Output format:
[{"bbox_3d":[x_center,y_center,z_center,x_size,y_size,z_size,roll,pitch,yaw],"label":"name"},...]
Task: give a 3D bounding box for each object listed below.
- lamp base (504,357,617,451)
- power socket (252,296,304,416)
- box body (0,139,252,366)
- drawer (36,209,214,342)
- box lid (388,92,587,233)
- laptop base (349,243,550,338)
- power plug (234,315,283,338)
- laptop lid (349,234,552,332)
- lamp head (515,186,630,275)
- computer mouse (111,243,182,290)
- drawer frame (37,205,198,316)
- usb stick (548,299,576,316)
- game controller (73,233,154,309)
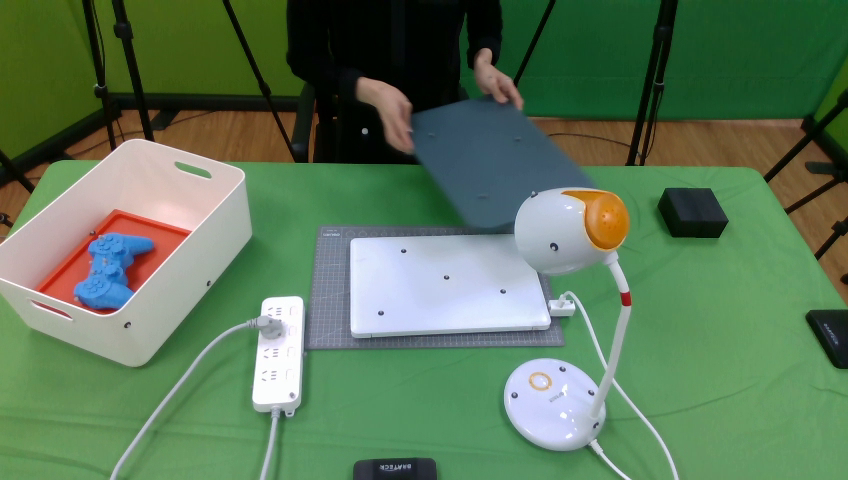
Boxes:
[{"bbox_3d":[0.220,0.211,0.903,0.160,0.181,0.178,-33,59,-30],"label":"lamp base"},{"bbox_3d":[-0.238,0.182,0.997,0.072,0.033,0.225,-3,47,-5],"label":"power socket"},{"bbox_3d":[-0.496,0.013,1.048,0.254,0.161,0.362,17,47,12],"label":"box body"},{"bbox_3d":[-0.508,0.056,1.049,0.194,0.073,0.211,15,46,10],"label":"drawer"},{"bbox_3d":[0.113,-0.163,1.166,0.263,0.015,0.369,-18,49,-18],"label":"box lid"},{"bbox_3d":[0.039,0.081,1.124,0.355,0.023,0.234,-2,43,-6],"label":"laptop base"},{"bbox_3d":[-0.270,0.143,1.000,0.072,0.053,0.035,5,47,2],"label":"power plug"},{"bbox_3d":[0.040,0.072,1.118,0.357,0.013,0.240,0,43,-5],"label":"laptop lid"},{"bbox_3d":[0.188,-0.013,0.728,0.112,0.112,0.122,-25,9,-25],"label":"lamp head"},{"bbox_3d":[-0.493,0.045,1.077,0.117,0.041,0.062,24,42,13],"label":"computer mouse"},{"bbox_3d":[-0.504,0.056,1.051,0.201,0.083,0.212,14,51,11],"label":"drawer frame"},{"bbox_3d":[0.239,0.121,1.083,0.059,0.027,0.021,-1,51,-2],"label":"usb stick"},{"bbox_3d":[-0.507,0.047,0.991,0.097,0.052,0.154,-6,46,-4],"label":"game controller"}]
